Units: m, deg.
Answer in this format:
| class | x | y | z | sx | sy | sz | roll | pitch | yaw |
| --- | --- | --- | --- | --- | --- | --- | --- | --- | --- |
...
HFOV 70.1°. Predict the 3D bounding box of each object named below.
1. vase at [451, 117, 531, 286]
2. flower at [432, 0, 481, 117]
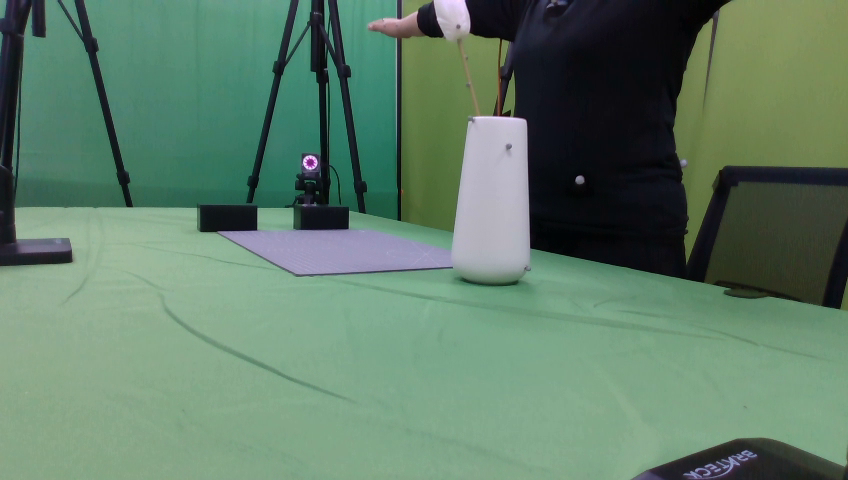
| class | x | y | z | sx | sy | sz | roll | pitch | yaw |
| --- | --- | --- | --- | --- | --- | --- | --- | --- | --- |
| vase | 0.083 | -0.047 | 0.737 | 0.098 | 0.200 | 0.098 | 1 | 6 | 0 |
| flower | 0.071 | -0.129 | 0.736 | 0.038 | 0.361 | 0.044 | -16 | -2 | 42 |
